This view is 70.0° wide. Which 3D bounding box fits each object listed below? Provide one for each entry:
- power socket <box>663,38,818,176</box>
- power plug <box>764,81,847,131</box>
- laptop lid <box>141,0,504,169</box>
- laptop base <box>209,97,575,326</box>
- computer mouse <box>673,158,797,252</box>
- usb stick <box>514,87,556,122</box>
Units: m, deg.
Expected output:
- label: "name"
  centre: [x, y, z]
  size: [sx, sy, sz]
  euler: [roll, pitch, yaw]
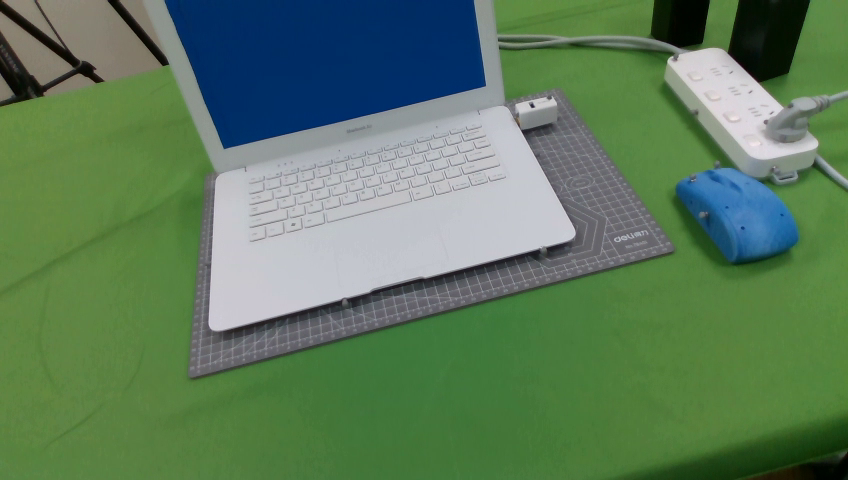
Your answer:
- label: "power socket"
  centre: [0.333, -0.153, 0.656]
  size: [0.072, 0.033, 0.224]
  euler: [-12, 46, 1]
- label: "power plug"
  centre: [0.370, -0.121, 0.588]
  size: [0.072, 0.053, 0.035]
  euler: [-4, 49, 7]
- label: "laptop lid"
  centre: [-0.096, -0.218, 0.655]
  size: [0.357, 0.244, 0.013]
  euler: [-16, 33, -2]
- label: "laptop base"
  centre: [-0.048, -0.041, 0.639]
  size: [0.354, 0.023, 0.233]
  euler: [-15, 49, -3]
- label: "computer mouse"
  centre: [0.282, -0.039, 0.555]
  size: [0.063, 0.041, 0.116]
  euler: [-16, 41, 0]
- label: "usb stick"
  centre: [0.120, -0.153, 0.693]
  size: [0.059, 0.027, 0.021]
  euler: [-16, 45, 1]
